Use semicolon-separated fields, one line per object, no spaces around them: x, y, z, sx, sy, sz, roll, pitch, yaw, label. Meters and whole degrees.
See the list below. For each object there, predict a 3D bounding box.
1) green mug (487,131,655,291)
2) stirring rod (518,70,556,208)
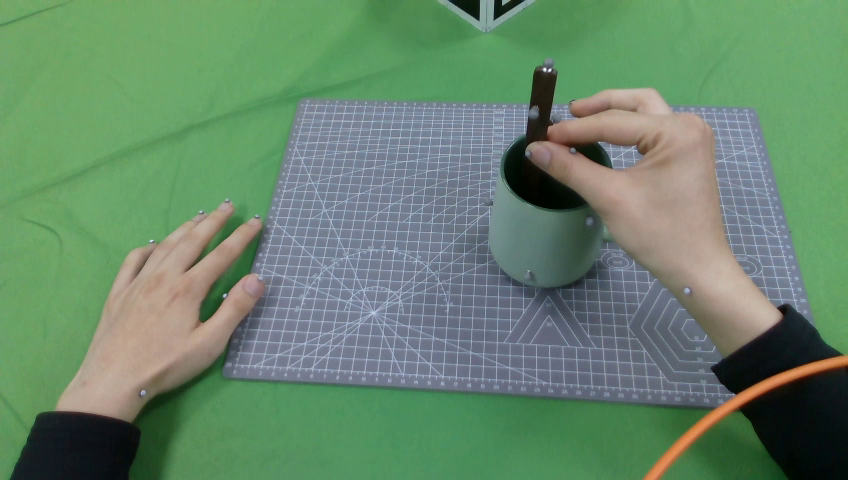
0.112;-0.019;0.468;0.125;0.106;0.092;4;58;6;green mug
0.074;-0.053;0.416;0.014;0.177;0.006;14;65;12;stirring rod
